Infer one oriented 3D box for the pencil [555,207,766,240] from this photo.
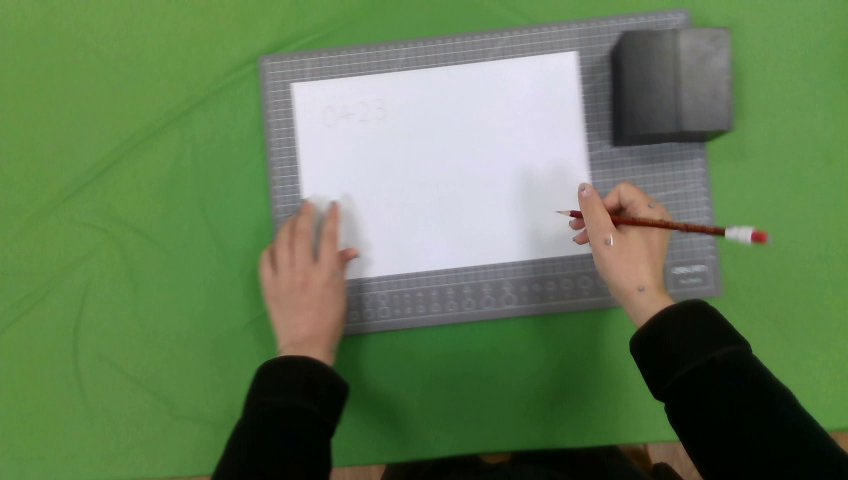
[{"bbox_3d":[0.187,-0.017,0.515,0.012,0.192,0.012,-8,103,-37],"label":"pencil"}]
